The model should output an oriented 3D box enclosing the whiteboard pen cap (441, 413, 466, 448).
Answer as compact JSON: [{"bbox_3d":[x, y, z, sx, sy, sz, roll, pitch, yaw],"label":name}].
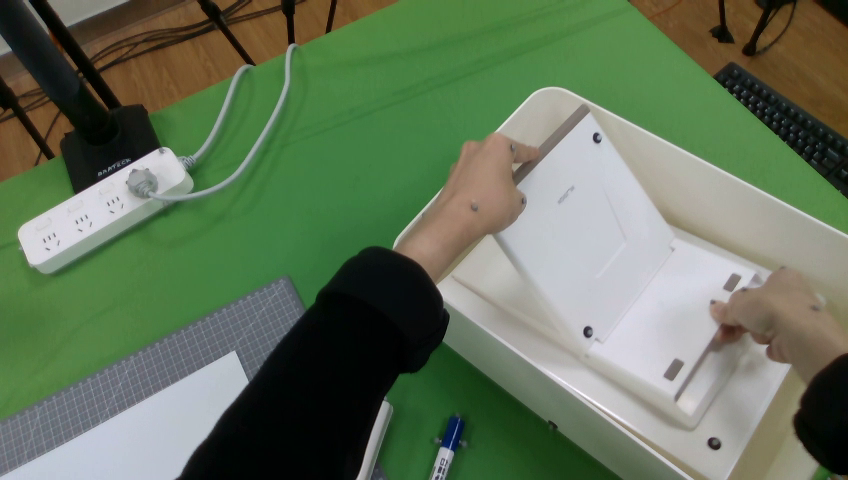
[{"bbox_3d":[0.029,0.190,0.601,0.018,0.018,0.033,16,65,15],"label":"whiteboard pen cap"}]

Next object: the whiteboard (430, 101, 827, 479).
[{"bbox_3d":[0.179,0.012,0.530,0.303,0.145,0.217,32,62,28],"label":"whiteboard"}]

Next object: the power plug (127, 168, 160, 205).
[{"bbox_3d":[-0.338,-0.057,0.739,0.035,0.053,0.072,-24,68,-7],"label":"power plug"}]

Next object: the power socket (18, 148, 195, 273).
[{"bbox_3d":[-0.395,-0.039,0.760,0.227,0.033,0.071,-33,64,-13],"label":"power socket"}]

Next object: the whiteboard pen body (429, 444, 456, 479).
[{"bbox_3d":[0.008,0.240,0.577,0.017,0.017,0.140,17,64,15],"label":"whiteboard pen body"}]

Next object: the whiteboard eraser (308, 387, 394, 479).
[{"bbox_3d":[-0.072,0.204,0.586,0.055,0.042,0.112,12,63,13],"label":"whiteboard eraser"}]

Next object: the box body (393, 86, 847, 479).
[{"bbox_3d":[0.187,0.055,0.576,0.361,0.162,0.253,34,70,21],"label":"box body"}]
